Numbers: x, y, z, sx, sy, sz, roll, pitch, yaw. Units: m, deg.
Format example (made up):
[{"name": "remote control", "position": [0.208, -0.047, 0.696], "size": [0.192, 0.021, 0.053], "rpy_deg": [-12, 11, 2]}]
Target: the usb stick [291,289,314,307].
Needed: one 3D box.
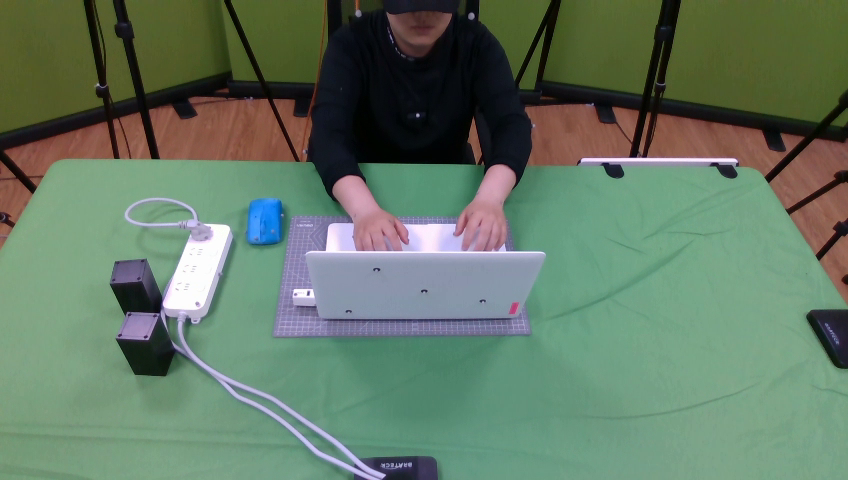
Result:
[{"name": "usb stick", "position": [-0.203, 0.102, 1.066], "size": [0.059, 0.027, 0.021], "rpy_deg": [4, 44, -5]}]

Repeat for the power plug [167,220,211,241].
[{"name": "power plug", "position": [-0.438, -0.017, 1.143], "size": [0.072, 0.053, 0.035], "rpy_deg": [10, 43, 7]}]

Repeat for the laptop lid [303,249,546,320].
[{"name": "laptop lid", "position": [-0.002, 0.077, 0.961], "size": [0.357, 0.242, 0.013], "rpy_deg": [1, 58, -5]}]

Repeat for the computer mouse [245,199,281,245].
[{"name": "computer mouse", "position": [-0.318, -0.039, 1.201], "size": [0.063, 0.041, 0.116], "rpy_deg": [0, 50, -8]}]

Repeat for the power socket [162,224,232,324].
[{"name": "power socket", "position": [-0.411, 0.052, 1.106], "size": [0.072, 0.033, 0.225], "rpy_deg": [4, 45, -1]}]

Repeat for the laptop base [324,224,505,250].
[{"name": "laptop base", "position": [-0.014, 0.055, 1.144], "size": [0.355, 0.023, 0.234], "rpy_deg": [0, 42, -4]}]
